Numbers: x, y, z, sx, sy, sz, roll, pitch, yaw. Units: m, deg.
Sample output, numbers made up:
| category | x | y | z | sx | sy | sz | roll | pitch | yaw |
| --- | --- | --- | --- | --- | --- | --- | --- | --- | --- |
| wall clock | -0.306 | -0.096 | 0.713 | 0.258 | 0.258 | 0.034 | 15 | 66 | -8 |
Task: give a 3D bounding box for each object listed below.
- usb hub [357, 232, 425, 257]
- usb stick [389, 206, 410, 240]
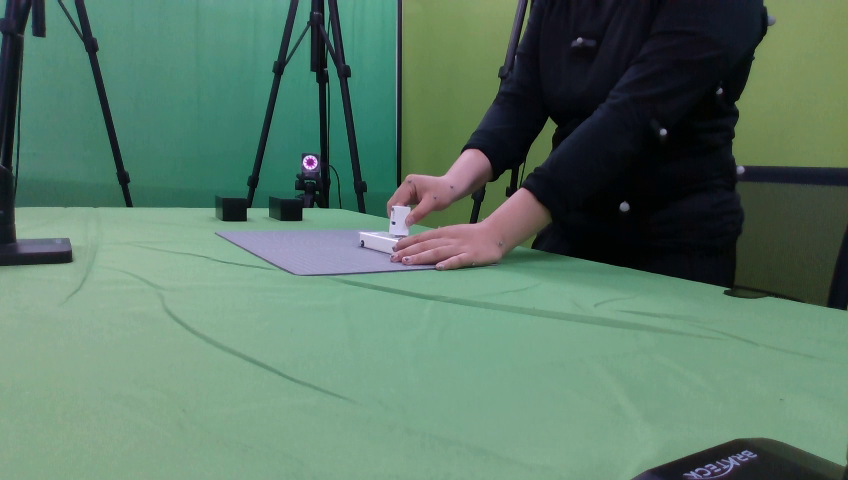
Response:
| category | x | y | z | sx | sy | sz | roll | pitch | yaw |
| --- | --- | --- | --- | --- | --- | --- | --- | --- | --- |
| usb hub | -0.054 | 0.005 | 0.947 | 0.050 | 0.025 | 0.124 | -3 | 9 | -36 |
| usb stick | -0.038 | -0.023 | 0.933 | 0.027 | 0.059 | 0.021 | -7 | 15 | -39 |
